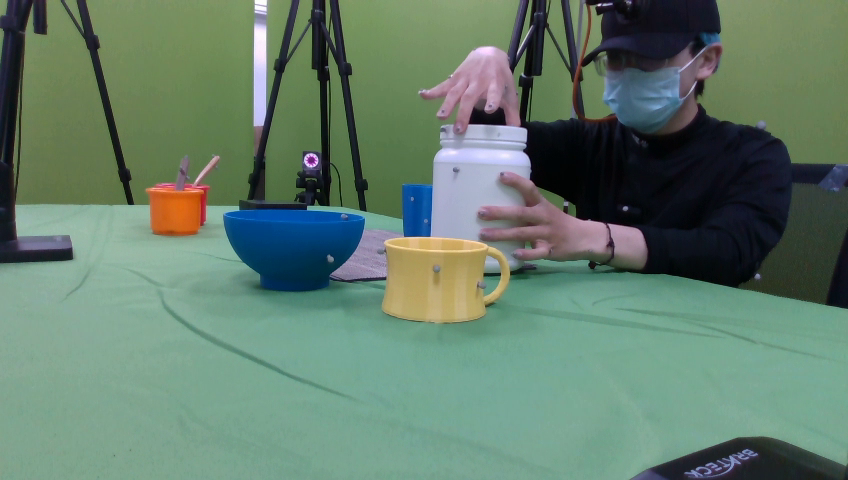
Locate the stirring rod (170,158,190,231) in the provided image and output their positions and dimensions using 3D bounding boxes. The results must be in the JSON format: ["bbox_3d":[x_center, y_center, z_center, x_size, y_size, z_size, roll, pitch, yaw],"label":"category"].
[{"bbox_3d":[-0.426,-0.083,1.060,0.014,0.006,0.175,1,50,-13],"label":"stirring rod"}]

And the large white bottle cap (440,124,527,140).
[{"bbox_3d":[0.078,-0.140,0.795,0.115,0.018,0.115,2,8,0],"label":"large white bottle cap"}]

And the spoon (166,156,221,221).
[{"bbox_3d":[-0.447,-0.104,1.192,0.041,0.022,0.193,7,52,14],"label":"spoon"}]

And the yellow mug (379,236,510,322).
[{"bbox_3d":[0.024,0.034,0.575,0.131,0.064,0.099,1,7,-22],"label":"yellow mug"}]

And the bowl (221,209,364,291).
[{"bbox_3d":[-0.142,0.011,0.660,0.151,0.077,0.151,2,7,0],"label":"bowl"}]

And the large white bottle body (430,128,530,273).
[{"bbox_3d":[0.074,-0.056,0.807,0.131,0.184,0.130,2,7,0],"label":"large white bottle body"}]

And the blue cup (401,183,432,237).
[{"bbox_3d":[0.002,-0.038,0.966,0.093,0.100,0.092,4,9,0],"label":"blue cup"}]
